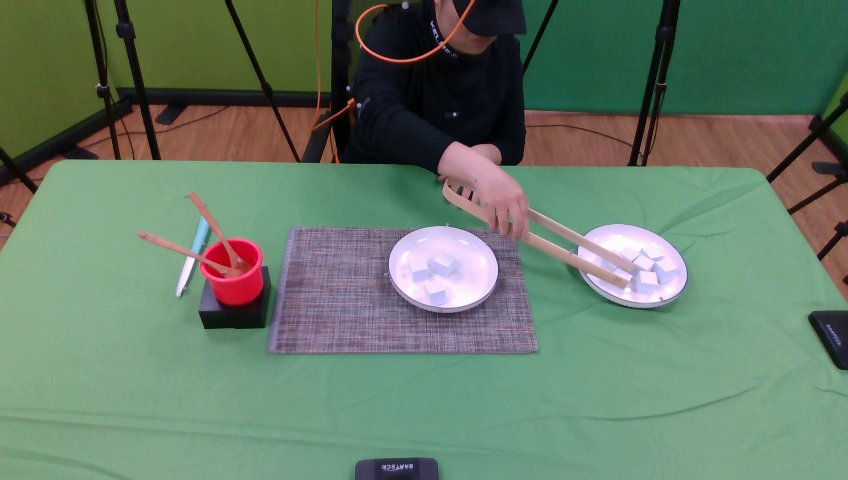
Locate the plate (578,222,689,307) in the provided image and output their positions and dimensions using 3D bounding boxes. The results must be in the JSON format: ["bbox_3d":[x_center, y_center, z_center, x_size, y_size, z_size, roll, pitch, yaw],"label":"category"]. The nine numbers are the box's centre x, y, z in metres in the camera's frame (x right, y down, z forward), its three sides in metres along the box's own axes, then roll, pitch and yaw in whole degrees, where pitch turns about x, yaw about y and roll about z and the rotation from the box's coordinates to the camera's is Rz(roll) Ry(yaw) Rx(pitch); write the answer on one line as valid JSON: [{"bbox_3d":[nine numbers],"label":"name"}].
[{"bbox_3d":[0.396,0.050,1.165,0.209,0.038,0.208,2,47,-2],"label":"plate"}]

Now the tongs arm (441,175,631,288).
[{"bbox_3d":[0.203,-0.017,1.123,0.384,0.026,0.050,26,47,4],"label":"tongs arm"}]

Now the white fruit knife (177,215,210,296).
[{"bbox_3d":[-0.434,0.025,1.148,0.027,0.016,0.206,-18,45,18],"label":"white fruit knife"}]

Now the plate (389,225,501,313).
[{"bbox_3d":[0.038,0.057,1.129,0.208,0.039,0.206,2,46,-2],"label":"plate"}]

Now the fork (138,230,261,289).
[{"bbox_3d":[-0.359,0.032,0.981,0.208,0.018,0.028,31,60,-30],"label":"fork"}]

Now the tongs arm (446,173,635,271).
[{"bbox_3d":[0.216,-0.036,1.145,0.387,0.028,0.028,27,51,6],"label":"tongs arm"}]

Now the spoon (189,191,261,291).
[{"bbox_3d":[-0.333,0.001,1.012,0.041,0.194,0.021,-34,15,-25],"label":"spoon"}]
